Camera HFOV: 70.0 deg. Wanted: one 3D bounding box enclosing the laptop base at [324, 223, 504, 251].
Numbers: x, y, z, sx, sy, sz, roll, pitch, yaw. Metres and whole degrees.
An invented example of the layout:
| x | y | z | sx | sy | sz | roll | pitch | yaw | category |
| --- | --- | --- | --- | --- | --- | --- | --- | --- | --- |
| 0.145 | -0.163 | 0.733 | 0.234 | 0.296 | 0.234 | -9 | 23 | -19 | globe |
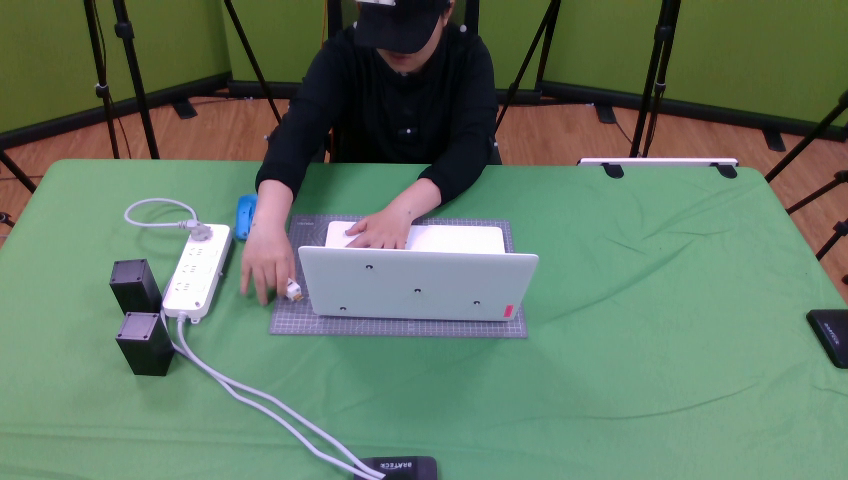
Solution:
| x | y | z | sx | sy | sz | roll | pitch | yaw | category |
| --- | --- | --- | --- | --- | --- | --- | --- | --- | --- |
| -0.018 | 0.055 | 1.144 | 0.354 | 0.023 | 0.234 | 2 | 42 | -2 | laptop base |

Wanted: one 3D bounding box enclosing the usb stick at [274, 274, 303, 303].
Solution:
| x | y | z | sx | sy | sz | roll | pitch | yaw | category |
| --- | --- | --- | --- | --- | --- | --- | --- | --- | --- |
| -0.238 | 0.088 | 1.071 | 0.059 | 0.027 | 0.021 | 36 | 56 | 23 | usb stick |

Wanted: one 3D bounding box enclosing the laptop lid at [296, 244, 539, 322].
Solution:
| x | y | z | sx | sy | sz | roll | pitch | yaw | category |
| --- | --- | --- | --- | --- | --- | --- | --- | --- | --- |
| -0.013 | 0.076 | 0.962 | 0.357 | 0.243 | 0.013 | 3 | 58 | -3 | laptop lid |

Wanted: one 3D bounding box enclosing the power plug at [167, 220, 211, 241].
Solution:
| x | y | z | sx | sy | sz | roll | pitch | yaw | category |
| --- | --- | --- | --- | --- | --- | --- | --- | --- | --- |
| -0.439 | -0.017 | 1.143 | 0.072 | 0.053 | 0.035 | 10 | 43 | 6 | power plug |

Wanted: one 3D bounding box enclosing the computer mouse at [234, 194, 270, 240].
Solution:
| x | y | z | sx | sy | sz | roll | pitch | yaw | category |
| --- | --- | --- | --- | --- | --- | --- | --- | --- | --- |
| -0.342 | -0.049 | 1.207 | 0.063 | 0.041 | 0.116 | -1 | 50 | -7 | computer mouse |

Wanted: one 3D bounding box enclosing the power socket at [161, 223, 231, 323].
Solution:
| x | y | z | sx | sy | sz | roll | pitch | yaw | category |
| --- | --- | --- | --- | --- | --- | --- | --- | --- | --- |
| -0.412 | 0.051 | 1.107 | 0.072 | 0.033 | 0.225 | 4 | 46 | -2 | power socket |
